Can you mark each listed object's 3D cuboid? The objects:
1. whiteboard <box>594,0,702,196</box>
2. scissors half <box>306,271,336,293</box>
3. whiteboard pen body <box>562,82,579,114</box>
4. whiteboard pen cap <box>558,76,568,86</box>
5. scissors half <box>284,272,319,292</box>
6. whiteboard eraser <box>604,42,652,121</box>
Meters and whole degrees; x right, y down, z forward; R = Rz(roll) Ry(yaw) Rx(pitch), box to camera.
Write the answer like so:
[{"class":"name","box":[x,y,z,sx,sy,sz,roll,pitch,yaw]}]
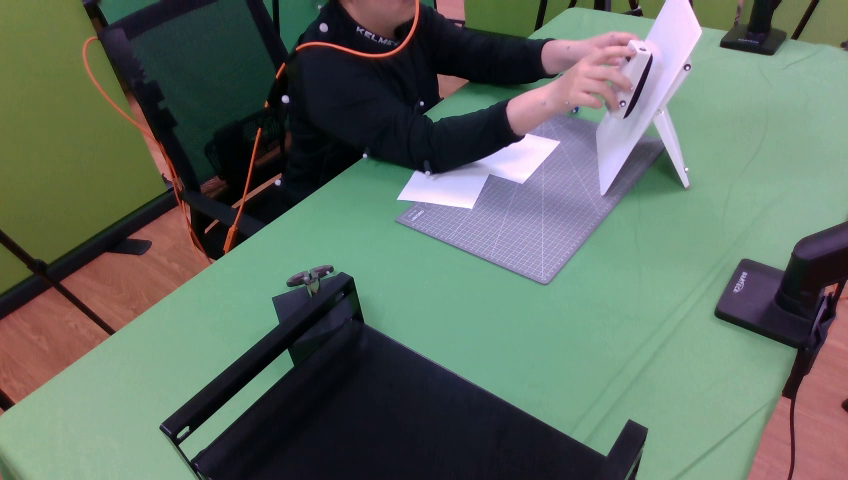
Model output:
[{"class":"whiteboard","box":[0.420,-0.227,1.010,0.144,0.305,0.216,18,42,-2]},{"class":"scissors half","box":[-0.152,0.061,0.872,0.040,0.013,0.175,-3,5,-4]},{"class":"whiteboard pen body","box":[0.311,-0.311,1.297,0.017,0.017,0.140,-5,41,3]},{"class":"whiteboard pen cap","box":[0.310,-0.350,1.340,0.018,0.018,0.033,-6,40,2]},{"class":"scissors half","box":[-0.172,0.063,0.868,0.040,0.013,0.174,-11,7,-22]},{"class":"whiteboard eraser","box":[0.323,-0.248,0.951,0.042,0.113,0.055,11,37,-3]}]
